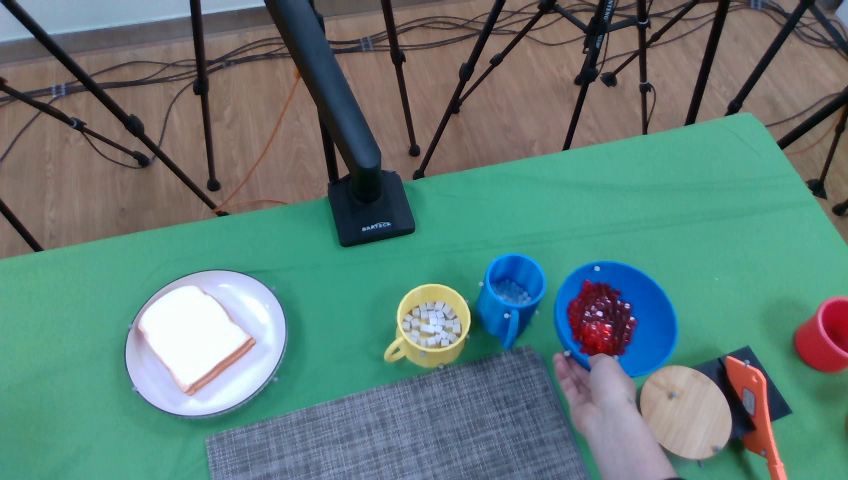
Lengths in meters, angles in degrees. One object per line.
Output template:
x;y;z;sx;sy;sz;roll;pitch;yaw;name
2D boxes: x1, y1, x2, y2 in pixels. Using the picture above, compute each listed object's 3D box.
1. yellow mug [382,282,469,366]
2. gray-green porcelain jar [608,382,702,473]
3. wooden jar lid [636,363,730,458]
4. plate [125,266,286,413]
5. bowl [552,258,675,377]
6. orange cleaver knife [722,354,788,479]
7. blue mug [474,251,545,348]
-0.003;0.124;0.829;0.131;0.064;0.099;-33;67;-19;yellow mug
0.294;0.229;0.754;0.106;0.127;0.105;2;60;-4;gray-green porcelain jar
0.296;0.196;0.700;0.108;0.021;0.107;3;62;-5;wooden jar lid
-0.290;0.133;0.818;0.208;0.039;0.206;2;60;-3;plate
0.226;0.107;0.763;0.151;0.077;0.150;3;62;-5;bowl
0.428;0.250;0.776;0.012;0.077;0.211;-15;88;-12;orange cleaver knife
0.115;0.090;0.834;0.082;0.106;0.115;5;60;0;blue mug
